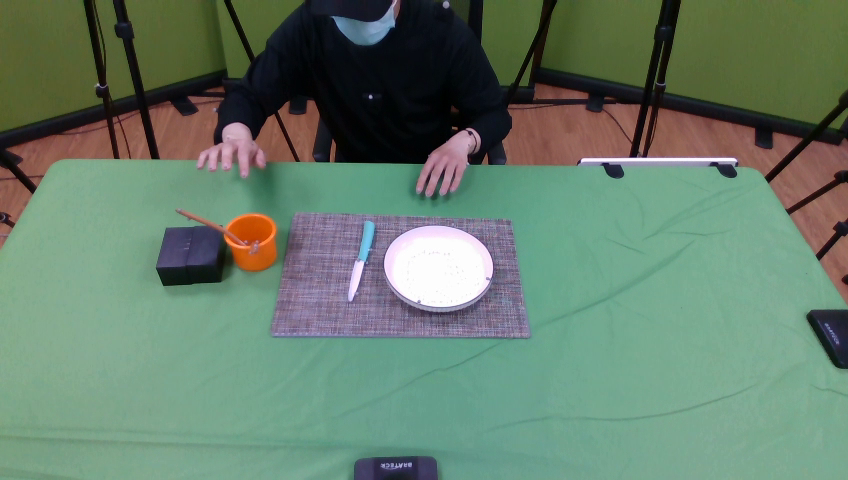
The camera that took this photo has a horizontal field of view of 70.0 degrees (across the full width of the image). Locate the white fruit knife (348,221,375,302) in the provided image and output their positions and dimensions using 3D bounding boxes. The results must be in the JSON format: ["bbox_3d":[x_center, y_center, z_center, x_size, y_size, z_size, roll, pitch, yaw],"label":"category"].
[{"bbox_3d":[-0.119,0.037,1.153,0.027,0.016,0.206,-15,43,24],"label":"white fruit knife"}]

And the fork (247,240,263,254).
[{"bbox_3d":[-0.301,0.011,1.075,0.028,0.018,0.207,4,0,-15],"label":"fork"}]

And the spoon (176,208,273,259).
[{"bbox_3d":[-0.355,-0.011,1.088,0.041,0.195,0.021,22,77,54],"label":"spoon"}]

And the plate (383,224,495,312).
[{"bbox_3d":[0.026,0.055,1.128,0.209,0.038,0.208,2,46,-2],"label":"plate"}]
